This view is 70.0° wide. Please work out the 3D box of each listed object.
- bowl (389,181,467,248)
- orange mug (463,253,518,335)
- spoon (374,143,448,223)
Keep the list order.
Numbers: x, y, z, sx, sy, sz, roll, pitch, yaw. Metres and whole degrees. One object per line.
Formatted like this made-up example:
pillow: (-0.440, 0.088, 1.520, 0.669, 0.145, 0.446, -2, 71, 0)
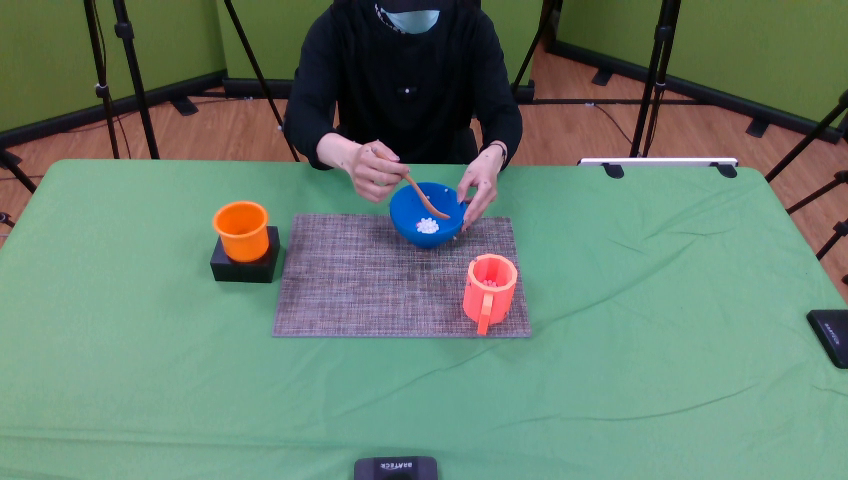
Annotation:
bowl: (0.006, -0.038, 1.188, 0.151, 0.077, 0.150, 2, 46, -2)
orange mug: (0.113, 0.098, 1.050, 0.083, 0.101, 0.125, 10, 42, 6)
spoon: (-0.021, -0.099, 1.054, 0.021, 0.195, 0.041, -5, 46, 45)
